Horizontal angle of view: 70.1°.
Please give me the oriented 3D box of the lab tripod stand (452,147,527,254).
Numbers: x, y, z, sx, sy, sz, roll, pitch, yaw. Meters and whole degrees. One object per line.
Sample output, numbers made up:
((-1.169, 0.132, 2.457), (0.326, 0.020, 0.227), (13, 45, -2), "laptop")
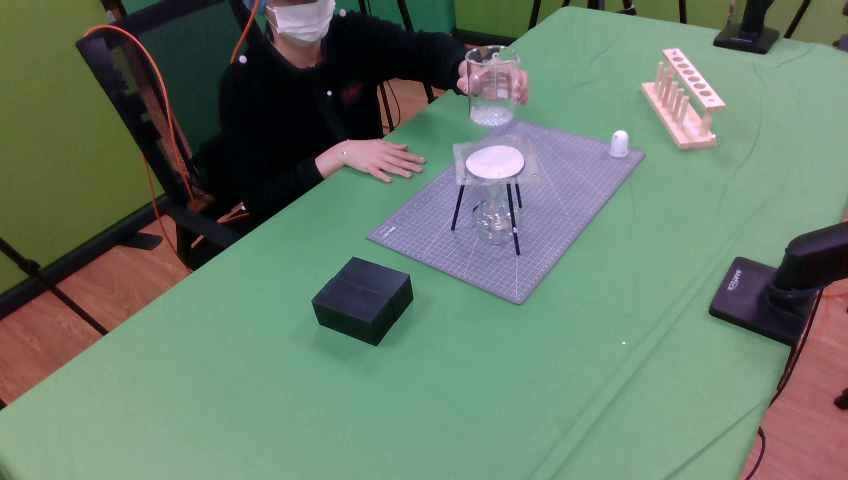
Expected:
((0.111, -0.066, 0.943), (0.148, 0.132, 0.147), (-5, 42, 5), "lab tripod stand")

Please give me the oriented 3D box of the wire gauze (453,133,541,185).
((0.105, -0.120, 0.902), (0.125, 0.011, 0.121), (-5, 41, 6), "wire gauze")

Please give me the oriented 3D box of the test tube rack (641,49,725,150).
((0.495, -0.279, 1.175), (0.067, 0.085, 0.241), (-5, 41, 3), "test tube rack")

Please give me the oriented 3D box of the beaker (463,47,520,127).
((0.102, -0.225, 0.895), (0.083, 0.100, 0.074), (12, 40, 22), "beaker")

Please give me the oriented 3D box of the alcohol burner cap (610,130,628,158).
((0.359, -0.177, 1.106), (0.034, 0.048, 0.033), (-5, 41, 5), "alcohol burner cap")

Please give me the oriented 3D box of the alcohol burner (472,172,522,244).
((0.112, -0.053, 0.942), (0.078, 0.119, 0.077), (-6, 40, 5), "alcohol burner")
